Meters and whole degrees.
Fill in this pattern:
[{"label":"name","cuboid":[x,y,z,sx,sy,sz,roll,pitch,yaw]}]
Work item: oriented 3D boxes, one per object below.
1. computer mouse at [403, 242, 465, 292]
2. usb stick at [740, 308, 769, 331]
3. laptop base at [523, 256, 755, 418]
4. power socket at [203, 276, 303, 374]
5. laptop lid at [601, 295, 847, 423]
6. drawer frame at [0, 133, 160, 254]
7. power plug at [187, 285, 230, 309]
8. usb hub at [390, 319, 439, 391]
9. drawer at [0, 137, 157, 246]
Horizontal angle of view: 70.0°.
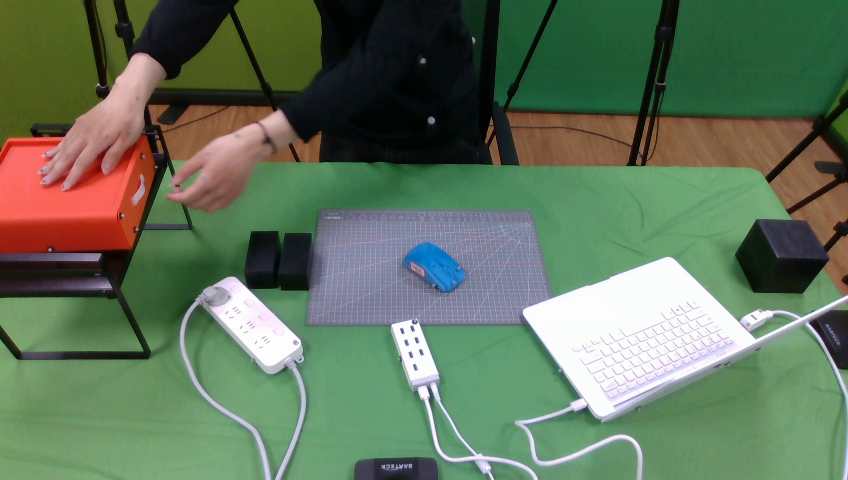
[{"label":"computer mouse","cuboid":[0.020,0.046,1.141,0.116,0.041,0.063,35,52,22]},{"label":"usb stick","cuboid":[0.587,0.145,1.088,0.059,0.027,0.021,-21,48,-17]},{"label":"laptop base","cuboid":[0.380,0.159,1.077,0.355,0.023,0.234,-17,47,-20]},{"label":"power socket","cuboid":[-0.297,0.141,1.034,0.072,0.033,0.225,-35,58,-31]},{"label":"laptop lid","cuboid":[0.449,0.180,0.905,0.357,0.242,0.013,-17,64,-20]},{"label":"drawer frame","cuboid":[-0.547,-0.075,0.938,0.214,0.083,0.200,-4,47,-6]},{"label":"power plug","cuboid":[-0.370,0.103,1.039,0.072,0.053,0.035,-25,53,-23]},{"label":"usb hub","cuboid":[-0.016,0.190,1.013,0.049,0.025,0.124,-10,48,-15]},{"label":"drawer","cuboid":[-0.545,-0.076,0.941,0.212,0.073,0.193,-3,47,-6]}]
